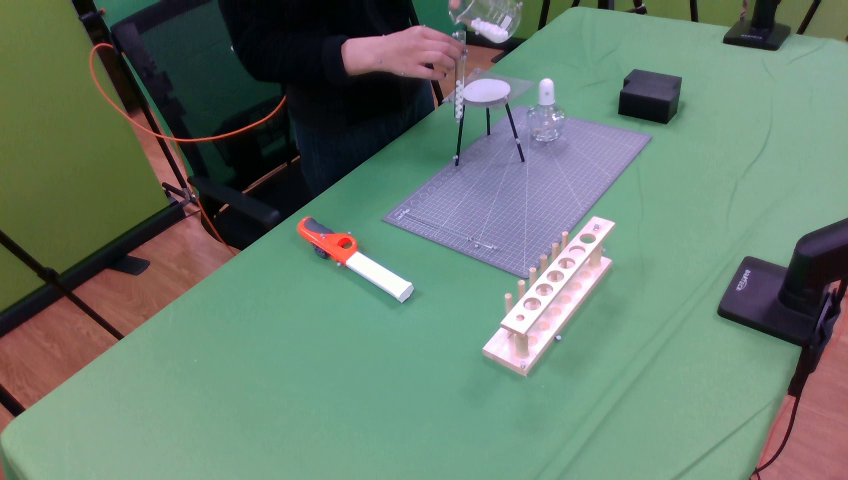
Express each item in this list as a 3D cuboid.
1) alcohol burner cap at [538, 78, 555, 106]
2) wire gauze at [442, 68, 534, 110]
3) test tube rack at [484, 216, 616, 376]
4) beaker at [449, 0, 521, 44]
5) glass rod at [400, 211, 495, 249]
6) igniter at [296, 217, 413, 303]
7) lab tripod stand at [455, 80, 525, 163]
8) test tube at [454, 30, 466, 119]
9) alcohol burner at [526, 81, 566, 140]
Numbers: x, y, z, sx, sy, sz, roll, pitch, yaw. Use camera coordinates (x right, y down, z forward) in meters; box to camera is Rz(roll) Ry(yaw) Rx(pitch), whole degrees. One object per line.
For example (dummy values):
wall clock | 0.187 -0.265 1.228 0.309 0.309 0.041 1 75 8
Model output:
alcohol burner cap | 0.229 -0.280 1.136 0.034 0.048 0.033 -6 34 5
wire gauze | 0.114 -0.269 1.081 0.120 0.011 0.125 21 48 29
test tube rack | 0.174 0.064 0.823 0.066 0.085 0.243 23 49 32
beaker | 0.099 -0.367 0.971 0.101 0.084 0.073 20 10 -36
glass rod | 0.035 -0.018 1.001 0.198 0.008 0.008 21 49 35
igniter | -0.121 0.025 0.970 0.274 0.025 0.057 29 63 37
lab tripod stand | 0.120 -0.219 1.126 0.148 0.132 0.147 -4 40 4
test tube | 0.060 -0.273 1.007 0.017 0.150 0.017 0 35 0
alcohol burner | 0.235 -0.252 1.159 0.078 0.119 0.077 -4 42 4
